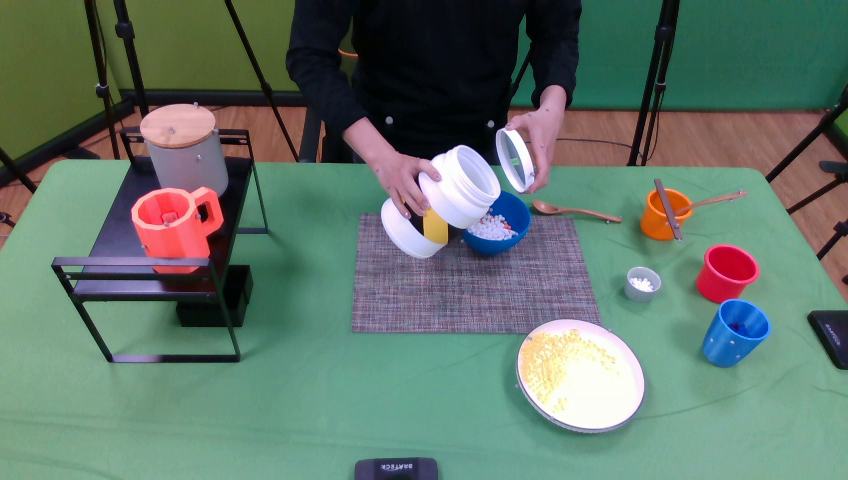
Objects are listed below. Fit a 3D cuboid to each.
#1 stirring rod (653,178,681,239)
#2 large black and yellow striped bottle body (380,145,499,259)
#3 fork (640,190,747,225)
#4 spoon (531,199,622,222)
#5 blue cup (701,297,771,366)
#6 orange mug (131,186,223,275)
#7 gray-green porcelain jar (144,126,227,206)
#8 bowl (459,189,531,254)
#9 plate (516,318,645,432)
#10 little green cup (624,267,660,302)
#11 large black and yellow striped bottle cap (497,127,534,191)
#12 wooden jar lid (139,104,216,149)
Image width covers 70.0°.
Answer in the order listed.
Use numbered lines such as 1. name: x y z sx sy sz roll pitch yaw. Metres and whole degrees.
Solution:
1. stirring rod: 0.481 -0.065 1.204 0.014 0.006 0.175 2 46 -1
2. large black and yellow striped bottle body: 0.027 -0.066 1.041 0.131 0.184 0.130 33 35 -27
3. fork: 0.533 -0.064 1.211 0.207 0.019 0.028 -22 28 38
4. spoon: 0.322 -0.060 1.279 0.194 0.022 0.041 8 32 5
5. blue cup: 0.519 0.162 1.025 0.093 0.101 0.092 3 45 -3
6. orange mug: -0.354 -0.023 0.887 0.083 0.101 0.126 31 56 24
7. gray-green porcelain jar: -0.375 -0.126 0.967 0.106 0.127 0.105 2 46 -2
8. bowl: 0.128 -0.025 1.186 0.151 0.077 0.150 2 46 -2
9. plate: 0.253 0.221 0.992 0.209 0.038 0.208 2 46 -2
10. little green cup: 0.406 0.084 1.135 0.061 0.039 0.061 3 46 -3
11. large black and yellow striped bottle cap: 0.157 -0.140 1.040 0.019 0.116 0.114 -25 50 1
12. wooden jar lid: -0.372 -0.169 0.920 0.108 0.021 0.107 4 44 -4
